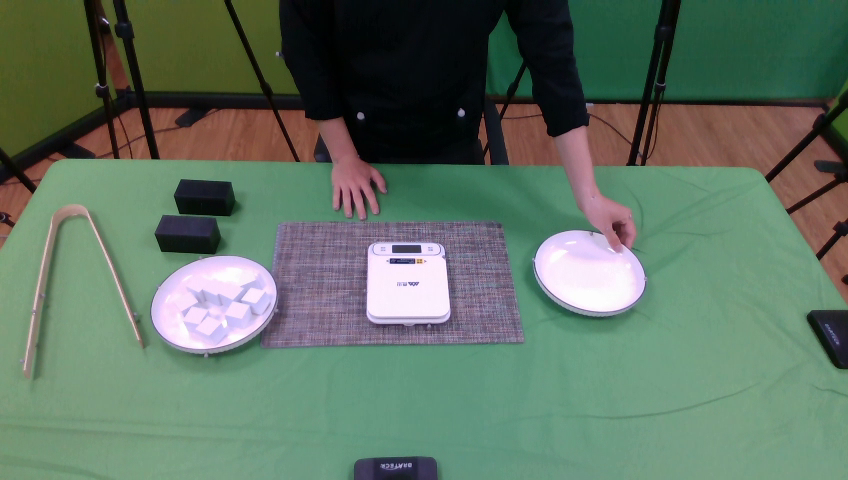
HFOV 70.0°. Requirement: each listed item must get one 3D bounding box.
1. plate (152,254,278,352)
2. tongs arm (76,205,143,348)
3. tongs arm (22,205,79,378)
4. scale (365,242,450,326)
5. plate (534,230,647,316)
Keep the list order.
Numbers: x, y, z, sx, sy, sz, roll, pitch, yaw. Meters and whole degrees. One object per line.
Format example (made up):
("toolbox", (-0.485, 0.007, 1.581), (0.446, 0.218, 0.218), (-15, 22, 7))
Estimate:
("plate", (-0.357, 0.111, 1.052), (0.208, 0.039, 0.206), (2, 46, -2))
("tongs arm", (-0.570, 0.053, 1.097), (0.028, 0.028, 0.385), (-26, 52, -22))
("tongs arm", (-0.652, 0.074, 1.067), (0.051, 0.026, 0.382), (-11, 46, -15))
("scale", (-0.032, 0.071, 1.113), (0.149, 0.032, 0.199), (1, 46, -4))
("plate", (0.311, 0.065, 1.144), (0.209, 0.038, 0.208), (2, 46, -2))
